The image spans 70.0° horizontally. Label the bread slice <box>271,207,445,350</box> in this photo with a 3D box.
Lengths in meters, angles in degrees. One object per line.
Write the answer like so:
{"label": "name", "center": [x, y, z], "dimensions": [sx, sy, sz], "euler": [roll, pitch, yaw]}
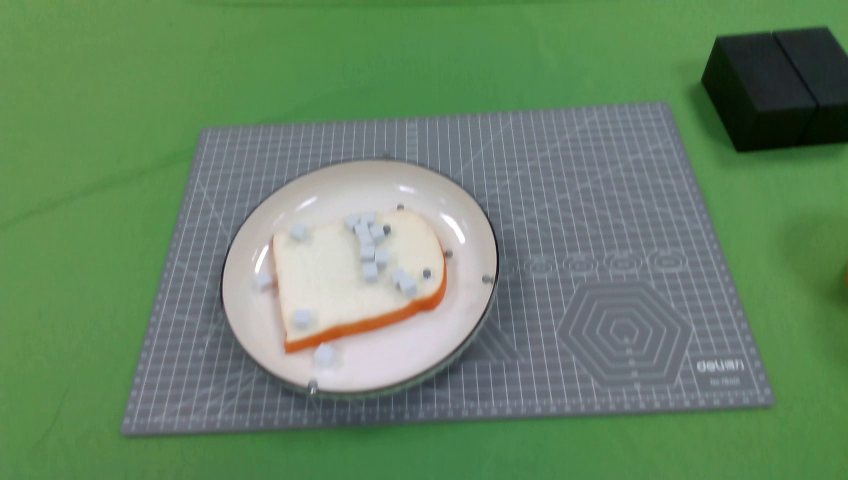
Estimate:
{"label": "bread slice", "center": [-0.051, 0.020, 0.469], "dimensions": [0.131, 0.019, 0.104], "euler": [-15, 56, -6]}

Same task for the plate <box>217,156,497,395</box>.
{"label": "plate", "center": [-0.049, 0.023, 0.463], "dimensions": [0.209, 0.038, 0.207], "euler": [-1, 55, 2]}
